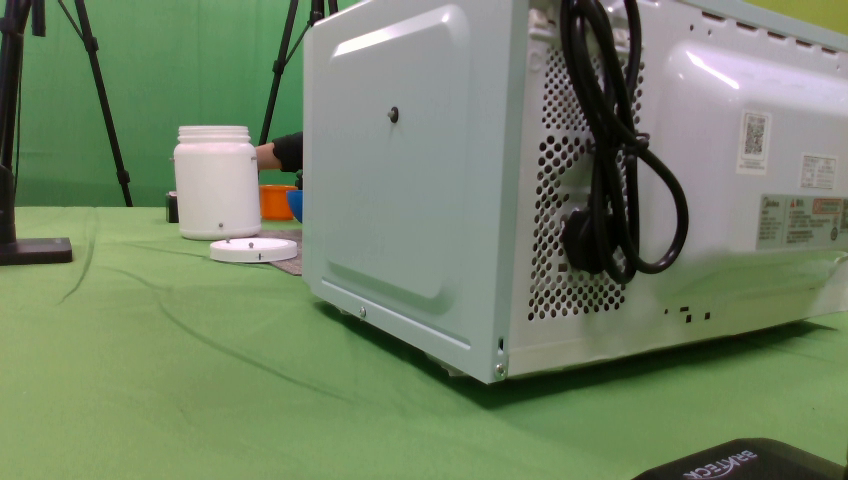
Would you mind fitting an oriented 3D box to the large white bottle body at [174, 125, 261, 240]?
[{"bbox_3d":[-0.349,-0.100,1.025,0.131,0.184,0.130,-1,9,0],"label":"large white bottle body"}]

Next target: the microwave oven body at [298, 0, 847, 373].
[{"bbox_3d":[0.151,-0.055,0.542,0.444,0.260,0.324,-1,7,-33],"label":"microwave oven body"}]

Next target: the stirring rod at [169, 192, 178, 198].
[{"bbox_3d":[-0.465,-0.096,1.280,0.014,0.006,0.177,40,21,19],"label":"stirring rod"}]

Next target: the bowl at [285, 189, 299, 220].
[{"bbox_3d":[-0.180,-0.050,1.113,0.151,0.077,0.151,3,8,0],"label":"bowl"}]

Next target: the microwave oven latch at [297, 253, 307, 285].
[{"bbox_3d":[-0.082,0.027,0.582,0.079,0.029,0.030,-1,7,-32],"label":"microwave oven latch"}]

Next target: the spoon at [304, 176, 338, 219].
[{"bbox_3d":[-0.201,-0.084,1.146,0.042,0.021,0.193,2,30,-25],"label":"spoon"}]

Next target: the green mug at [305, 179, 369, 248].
[{"bbox_3d":[-0.133,-0.044,0.977,0.092,0.105,0.126,6,8,32],"label":"green mug"}]

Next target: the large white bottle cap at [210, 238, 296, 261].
[{"bbox_3d":[-0.236,0.012,0.839,0.115,0.018,0.115,1,7,0],"label":"large white bottle cap"}]

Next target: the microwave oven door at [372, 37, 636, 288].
[{"bbox_3d":[0.109,-0.080,0.686,0.358,0.243,0.039,-2,9,-33],"label":"microwave oven door"}]
